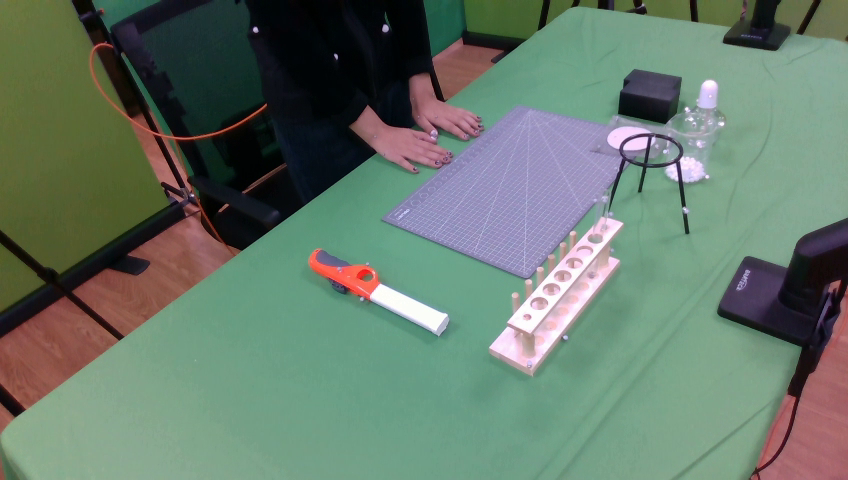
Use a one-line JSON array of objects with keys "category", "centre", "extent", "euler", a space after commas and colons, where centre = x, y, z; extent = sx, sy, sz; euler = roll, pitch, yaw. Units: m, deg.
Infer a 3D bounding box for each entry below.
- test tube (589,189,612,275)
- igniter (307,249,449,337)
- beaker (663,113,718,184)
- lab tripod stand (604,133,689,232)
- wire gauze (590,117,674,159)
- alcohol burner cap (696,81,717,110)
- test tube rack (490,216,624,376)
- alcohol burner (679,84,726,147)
[{"category": "test tube", "centre": [0.238, -0.007, 0.819], "extent": [0.017, 0.151, 0.017], "euler": [-3, 43, 4]}, {"category": "igniter", "centre": [-0.079, 0.073, 0.905], "extent": [0.274, 0.025, 0.057], "euler": [23, 61, 32]}, {"category": "beaker", "centre": [0.442, -0.151, 1.018], "extent": [0.084, 0.101, 0.074], "euler": [-1, 40, 11]}, {"category": "lab tripod stand", "centre": [0.347, -0.086, 0.933], "extent": [0.148, 0.132, 0.147], "euler": [-4, 40, 4]}, {"category": "wire gauze", "centre": [0.393, -0.192, 1.139], "extent": [0.120, 0.011, 0.125], "euler": [19, 47, 28]}, {"category": "alcohol burner cap", "centre": [0.498, -0.256, 1.062], "extent": [0.034, 0.048, 0.033], "euler": [-6, 33, 4]}, {"category": "test tube rack", "centre": [0.184, 0.064, 0.822], "extent": [0.066, 0.085, 0.243], "euler": [24, 50, 33]}, {"category": "alcohol burner", "centre": [0.503, -0.228, 1.085], "extent": [0.078, 0.119, 0.077], "euler": [-4, 42, 4]}]
